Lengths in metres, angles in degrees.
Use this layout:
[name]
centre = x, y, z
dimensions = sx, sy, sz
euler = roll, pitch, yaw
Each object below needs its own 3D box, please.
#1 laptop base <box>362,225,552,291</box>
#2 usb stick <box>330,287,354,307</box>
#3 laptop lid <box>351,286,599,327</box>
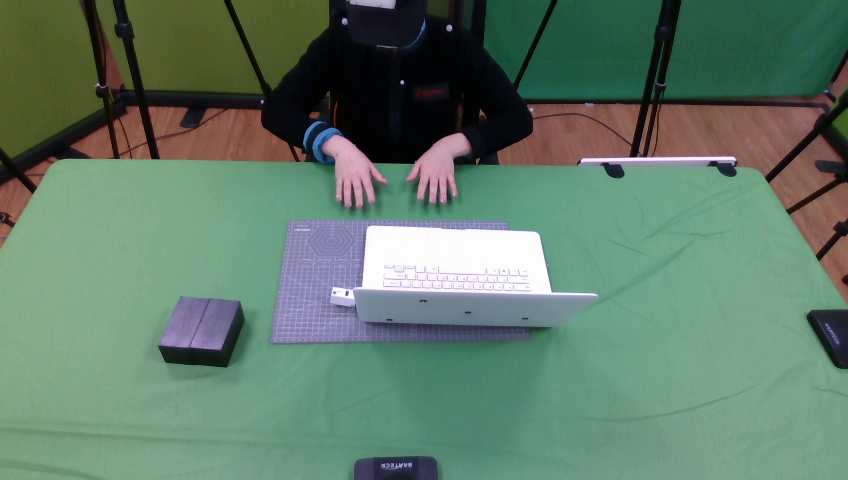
[laptop base]
centre = 0.061, 0.063, 1.145
dimensions = 0.354, 0.023, 0.234
euler = 2, 43, -3
[usb stick]
centre = -0.135, 0.101, 1.068
dimensions = 0.059, 0.027, 0.021
euler = 13, 43, -9
[laptop lid]
centre = 0.068, 0.109, 0.952
dimensions = 0.357, 0.242, 0.013
euler = 2, 71, -4
